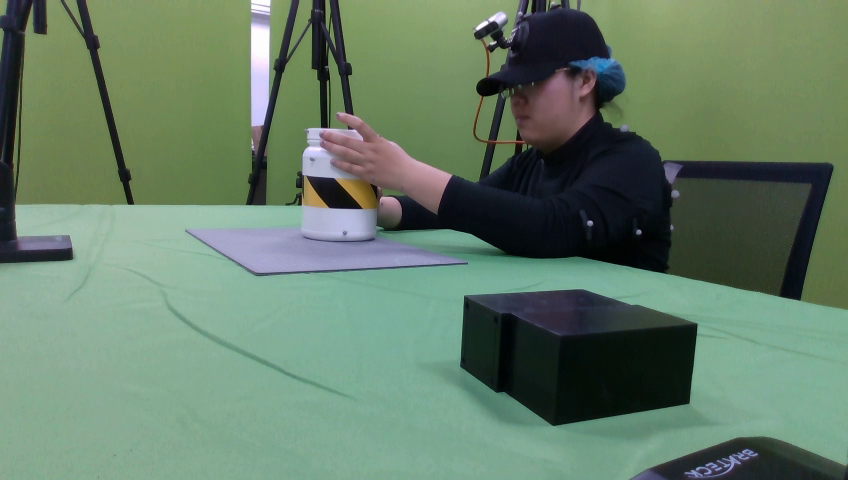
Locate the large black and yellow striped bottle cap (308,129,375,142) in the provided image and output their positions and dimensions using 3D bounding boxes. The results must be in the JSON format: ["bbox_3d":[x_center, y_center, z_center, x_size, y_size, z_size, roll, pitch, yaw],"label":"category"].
[{"bbox_3d":[-0.140,-0.178,1.033,0.115,0.019,0.115,1,7,0],"label":"large black and yellow striped bottle cap"}]

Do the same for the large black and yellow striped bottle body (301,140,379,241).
[{"bbox_3d":[-0.145,-0.095,1.045,0.131,0.184,0.130,3,7,0],"label":"large black and yellow striped bottle body"}]
